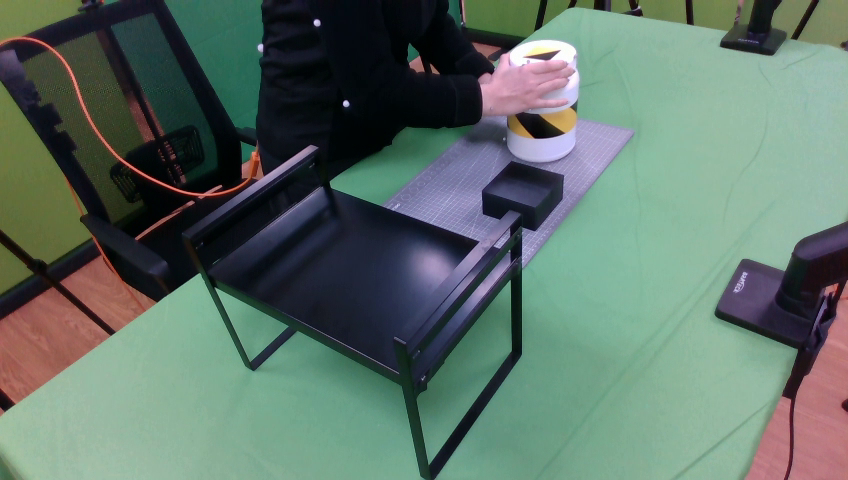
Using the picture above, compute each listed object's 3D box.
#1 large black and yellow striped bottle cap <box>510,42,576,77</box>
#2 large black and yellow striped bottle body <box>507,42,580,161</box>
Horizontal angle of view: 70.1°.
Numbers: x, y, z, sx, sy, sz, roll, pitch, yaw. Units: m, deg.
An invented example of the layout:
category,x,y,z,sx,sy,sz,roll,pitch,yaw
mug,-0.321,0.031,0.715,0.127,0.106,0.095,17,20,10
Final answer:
category,x,y,z,sx,sy,sz,roll,pitch,yaw
large black and yellow striped bottle cap,0.207,-0.316,1.054,0.115,0.019,0.114,-4,39,4
large black and yellow striped bottle body,0.218,-0.253,1.108,0.131,0.185,0.130,-5,40,4
